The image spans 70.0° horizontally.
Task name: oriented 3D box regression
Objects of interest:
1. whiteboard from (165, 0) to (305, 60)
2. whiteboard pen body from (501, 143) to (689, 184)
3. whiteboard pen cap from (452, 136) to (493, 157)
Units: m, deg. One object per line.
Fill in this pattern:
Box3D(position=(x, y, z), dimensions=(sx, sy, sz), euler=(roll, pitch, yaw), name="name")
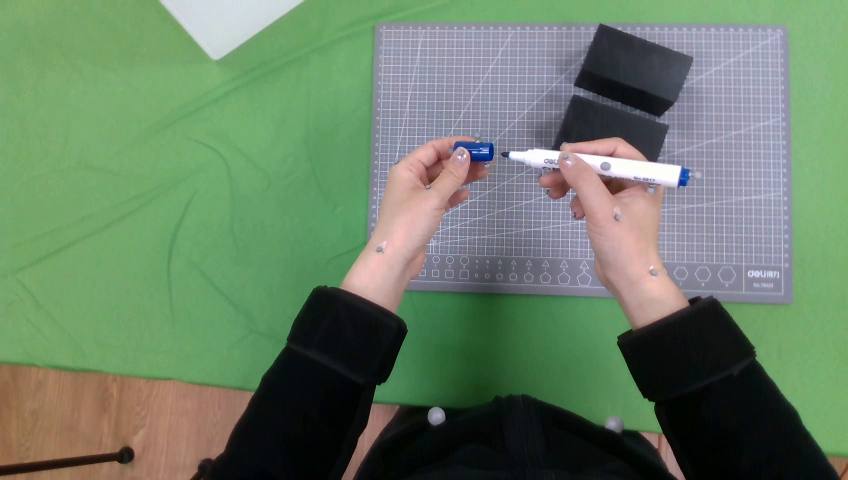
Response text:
Box3D(position=(-0.220, -0.373, 0.584), dimensions=(0.217, 0.308, 0.142), euler=(-34, 64, 1), name="whiteboard")
Box3D(position=(0.124, -0.060, 0.456), dimensions=(0.140, 0.017, 0.017), euler=(12, 85, 24), name="whiteboard pen body")
Box3D(position=(0.041, -0.078, 0.502), dimensions=(0.033, 0.018, 0.018), euler=(4, 85, 20), name="whiteboard pen cap")
